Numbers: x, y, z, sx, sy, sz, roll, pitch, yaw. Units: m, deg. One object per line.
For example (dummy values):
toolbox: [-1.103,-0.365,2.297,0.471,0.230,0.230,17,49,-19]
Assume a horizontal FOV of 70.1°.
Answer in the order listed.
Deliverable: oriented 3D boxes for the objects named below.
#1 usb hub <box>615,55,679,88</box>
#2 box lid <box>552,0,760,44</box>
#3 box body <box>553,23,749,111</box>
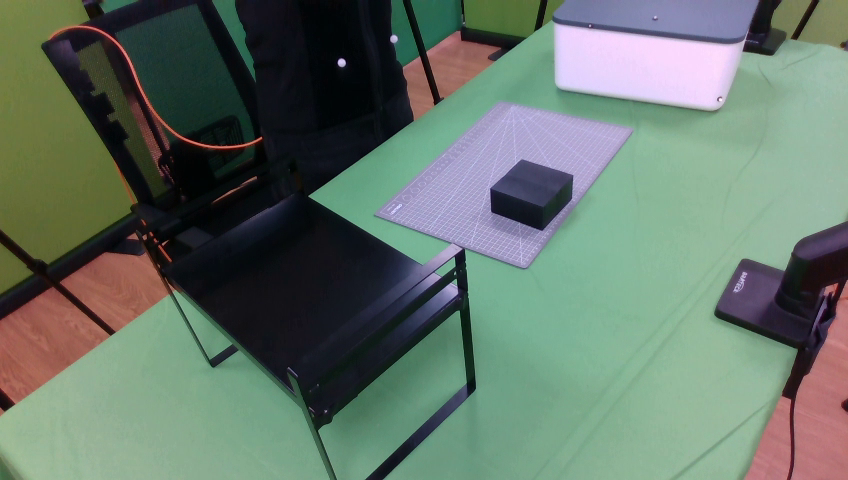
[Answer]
usb hub: [0.482,-0.366,1.309,0.124,0.025,0.049,25,48,24]
box lid: [0.471,-0.473,1.234,0.369,0.015,0.263,16,45,25]
box body: [0.480,-0.417,1.282,0.362,0.161,0.254,16,46,25]
